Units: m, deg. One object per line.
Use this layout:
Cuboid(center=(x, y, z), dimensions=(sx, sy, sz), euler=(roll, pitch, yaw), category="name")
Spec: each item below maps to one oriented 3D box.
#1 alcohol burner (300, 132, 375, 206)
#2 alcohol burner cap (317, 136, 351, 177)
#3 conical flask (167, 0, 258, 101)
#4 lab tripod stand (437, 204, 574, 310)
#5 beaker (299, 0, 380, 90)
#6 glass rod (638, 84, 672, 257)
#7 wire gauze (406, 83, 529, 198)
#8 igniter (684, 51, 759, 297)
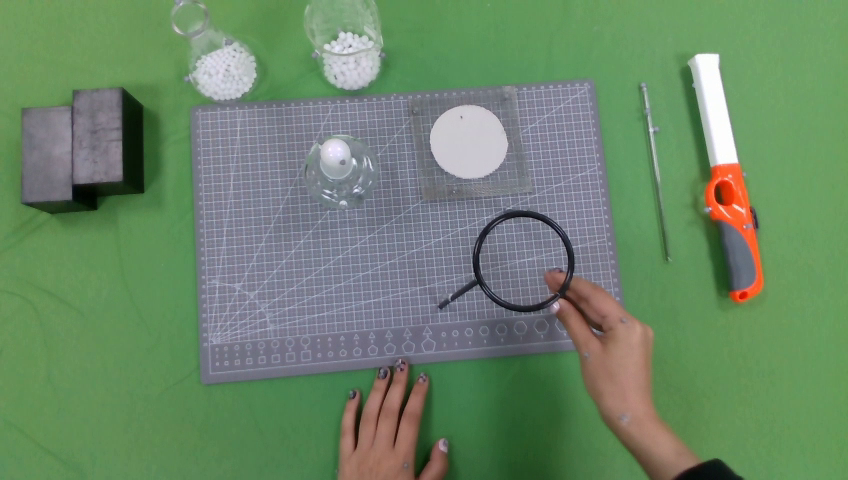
Cuboid(center=(-0.088, -0.075, 0.606), dimensions=(0.078, 0.119, 0.077), euler=(0, 83, -3), category="alcohol burner")
Cuboid(center=(-0.085, -0.081, 0.570), dimensions=(0.034, 0.048, 0.033), euler=(1, 81, -8), category="alcohol burner cap")
Cuboid(center=(-0.219, -0.197, 0.616), dimensions=(0.075, 0.122, 0.075), euler=(0, 82, -2), category="conical flask")
Cuboid(center=(0.081, 0.027, 0.588), dimensions=(0.148, 0.131, 0.148), euler=(0, 83, -2), category="lab tripod stand")
Cuboid(center=(-0.081, -0.206, 0.635), dimensions=(0.084, 0.100, 0.074), euler=(31, 82, 2), category="beaker")
Cuboid(center=(0.257, -0.080, 0.675), dimensions=(0.008, 0.008, 0.199), euler=(-6, 82, -3), category="glass rod")
Cuboid(center=(0.048, -0.109, 0.670), dimensions=(0.125, 0.011, 0.121), euler=(-6, 83, -5), category="wire gauze")
Cuboid(center=(0.328, -0.076, 0.669), dimensions=(0.057, 0.025, 0.275), euler=(-5, 83, -13), category="igniter")
